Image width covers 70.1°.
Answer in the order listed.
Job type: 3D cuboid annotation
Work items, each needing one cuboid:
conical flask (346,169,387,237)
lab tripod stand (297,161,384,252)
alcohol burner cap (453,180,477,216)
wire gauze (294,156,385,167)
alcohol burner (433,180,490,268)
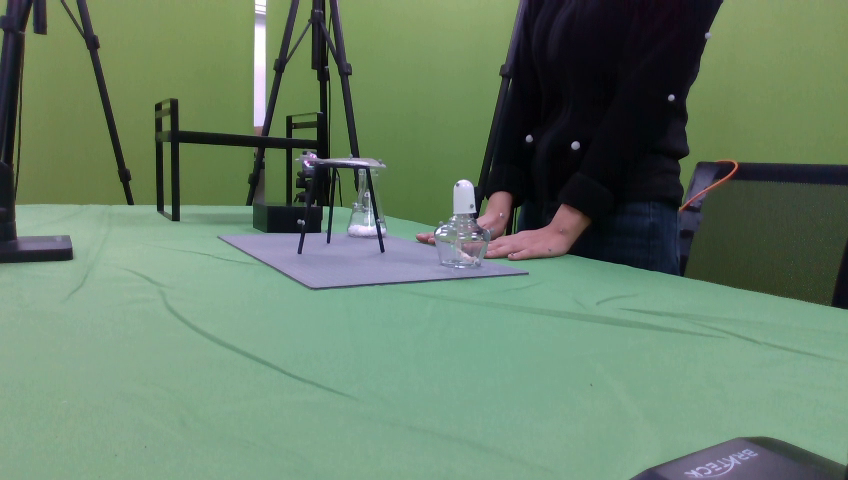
[{"bbox_3d":[-0.102,-0.068,1.091,0.075,0.122,0.075,2,7,0],"label":"conical flask"},{"bbox_3d":[-0.130,-0.051,0.903,0.148,0.131,0.148,3,9,0],"label":"lab tripod stand"},{"bbox_3d":[0.054,-0.057,0.811,0.034,0.048,0.034,-3,6,1],"label":"alcohol burner cap"},{"bbox_3d":[-0.128,-0.118,0.901,0.125,0.011,0.121,0,8,-14],"label":"wire gauze"},{"bbox_3d":[0.052,-0.021,0.816,0.078,0.119,0.078,4,7,0],"label":"alcohol burner"}]
